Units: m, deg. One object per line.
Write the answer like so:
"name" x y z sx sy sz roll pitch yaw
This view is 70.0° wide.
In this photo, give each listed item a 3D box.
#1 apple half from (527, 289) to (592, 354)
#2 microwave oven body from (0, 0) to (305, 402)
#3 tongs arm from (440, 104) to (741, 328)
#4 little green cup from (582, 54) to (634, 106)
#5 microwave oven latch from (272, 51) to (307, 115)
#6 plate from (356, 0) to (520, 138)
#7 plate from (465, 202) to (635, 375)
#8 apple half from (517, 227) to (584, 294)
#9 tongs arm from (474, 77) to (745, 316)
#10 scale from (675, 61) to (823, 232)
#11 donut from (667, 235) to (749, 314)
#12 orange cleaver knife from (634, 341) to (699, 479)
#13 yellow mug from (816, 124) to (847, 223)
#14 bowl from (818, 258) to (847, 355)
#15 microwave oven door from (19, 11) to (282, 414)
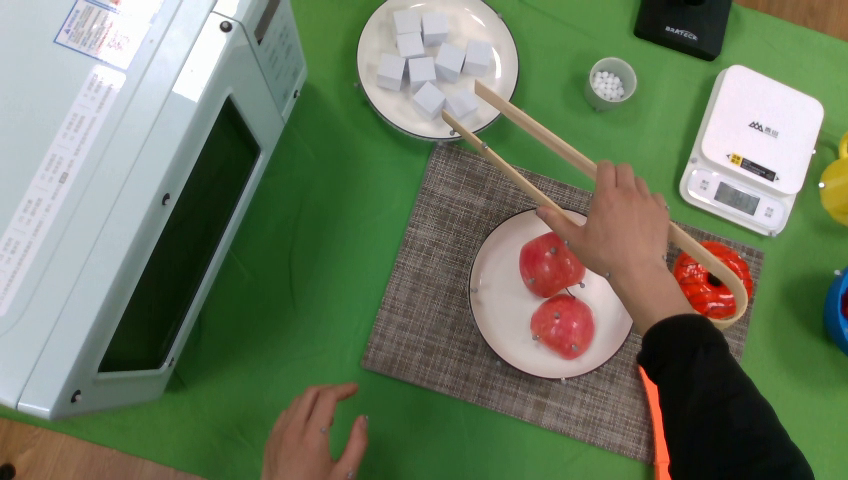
"apple half" 0.167 0.095 0.729 0.081 0.033 0.081 0 81 0
"microwave oven body" -0.364 -0.105 0.611 0.326 0.260 0.440 22 80 -1
"tongs arm" 0.163 -0.039 0.652 0.051 0.027 0.382 -39 69 -15
"little green cup" 0.238 -0.207 0.794 0.061 0.039 0.061 1 80 -4
"microwave oven latch" -0.169 -0.196 0.740 0.030 0.029 0.079 24 80 -1
"plate" 0.018 -0.227 0.779 0.208 0.039 0.207 1 80 -5
"plate" 0.151 0.058 0.740 0.209 0.038 0.208 1 81 -4
"apple half" 0.155 0.021 0.731 0.081 0.053 0.074 -19 79 -8
"tongs arm" 0.188 -0.061 0.661 0.028 0.028 0.384 -39 69 -18
"scale" 0.430 -0.125 0.799 0.149 0.031 0.200 23 80 0
"donut" 0.353 0.043 0.756 0.099 0.048 0.098 0 81 -2
"orange cleaver knife" 0.297 0.229 0.733 0.077 0.012 0.210 2 79 -11
"yellow mug" 0.575 -0.091 0.788 0.100 0.064 0.130 -13 81 -6
"bowl" 0.552 0.087 0.752 0.151 0.077 0.151 1 81 -4
"microwave oven door" -0.244 -0.013 0.600 0.039 0.244 0.354 21 79 -1
